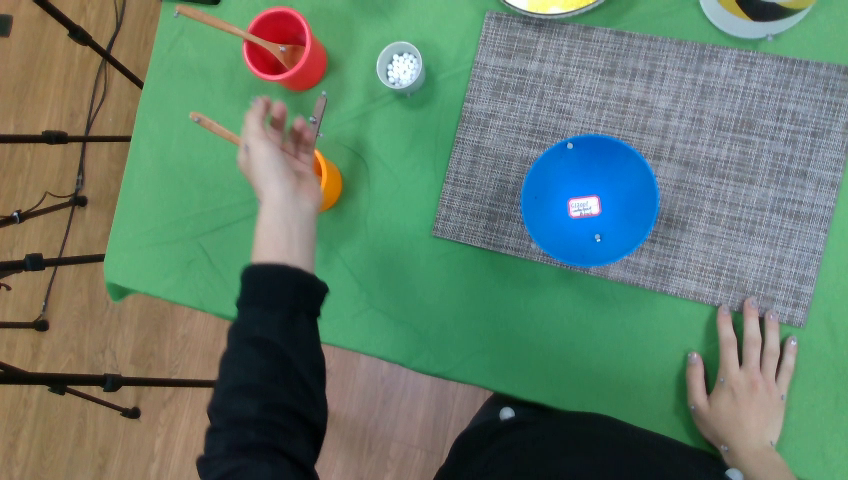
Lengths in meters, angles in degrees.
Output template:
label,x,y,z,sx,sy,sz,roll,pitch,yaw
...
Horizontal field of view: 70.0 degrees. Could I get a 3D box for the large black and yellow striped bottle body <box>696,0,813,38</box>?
label,x,y,z,sx,sy,sz,roll,pitch,yaw
large black and yellow striped bottle body,0.369,-0.307,0.634,0.130,0.185,0.130,-1,86,14

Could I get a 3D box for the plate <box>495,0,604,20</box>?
label,x,y,z,sx,sy,sz,roll,pitch,yaw
plate,0.164,-0.375,0.762,0.208,0.038,0.209,-1,87,13

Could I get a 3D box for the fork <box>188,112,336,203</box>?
label,x,y,z,sx,sy,sz,roll,pitch,yaw
fork,-0.204,-0.105,0.779,0.209,0.018,0.028,30,98,-30

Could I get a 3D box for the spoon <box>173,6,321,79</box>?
label,x,y,z,sx,sy,sz,roll,pitch,yaw
spoon,-0.228,-0.263,0.796,0.195,0.021,0.041,18,94,-30

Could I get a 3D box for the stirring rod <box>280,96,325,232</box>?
label,x,y,z,sx,sy,sz,roll,pitch,yaw
stirring rod,-0.153,-0.096,0.763,0.014,0.006,0.176,15,91,15

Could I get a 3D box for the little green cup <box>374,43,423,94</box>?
label,x,y,z,sx,sy,sz,roll,pitch,yaw
little green cup,-0.031,-0.224,0.800,0.061,0.039,0.061,-1,87,15

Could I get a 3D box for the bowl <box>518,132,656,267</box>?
label,x,y,z,sx,sy,sz,roll,pitch,yaw
bowl,0.190,-0.043,0.714,0.151,0.077,0.151,-1,87,14
